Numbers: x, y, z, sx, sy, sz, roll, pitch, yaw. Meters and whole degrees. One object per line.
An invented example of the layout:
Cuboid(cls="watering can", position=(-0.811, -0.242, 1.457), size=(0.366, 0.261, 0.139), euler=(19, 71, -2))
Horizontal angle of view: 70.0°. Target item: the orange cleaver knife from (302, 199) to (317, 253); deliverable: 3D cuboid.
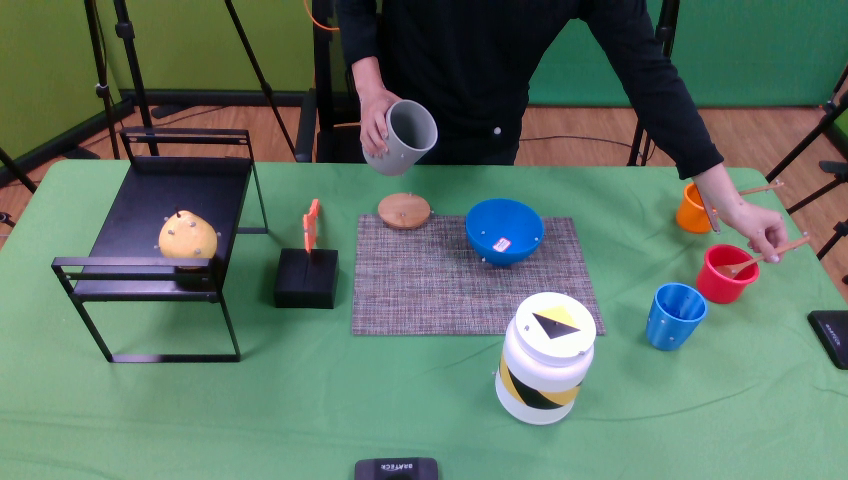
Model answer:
Cuboid(cls="orange cleaver knife", position=(-0.219, -0.031, 1.168), size=(0.012, 0.077, 0.210), euler=(-4, 17, -3))

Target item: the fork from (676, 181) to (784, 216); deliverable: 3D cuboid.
Cuboid(cls="fork", position=(0.618, -0.084, 1.235), size=(0.019, 0.207, 0.028), euler=(55, 40, -15))

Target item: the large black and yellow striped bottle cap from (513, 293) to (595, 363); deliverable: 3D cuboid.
Cuboid(cls="large black and yellow striped bottle cap", position=(0.186, 0.123, 0.863), size=(0.115, 0.019, 0.114), euler=(3, 45, -3))

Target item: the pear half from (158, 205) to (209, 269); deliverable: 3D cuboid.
Cuboid(cls="pear half", position=(-0.352, -0.015, 0.872), size=(0.056, 0.110, 0.076), euler=(26, 46, 20))

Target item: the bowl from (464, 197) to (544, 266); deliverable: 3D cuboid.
Cuboid(cls="bowl", position=(0.149, -0.004, 1.167), size=(0.151, 0.077, 0.150), euler=(2, 46, -2))

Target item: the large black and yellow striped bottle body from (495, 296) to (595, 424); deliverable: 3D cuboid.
Cuboid(cls="large black and yellow striped bottle body", position=(0.183, 0.182, 0.923), size=(0.131, 0.185, 0.130), euler=(2, 46, -2))

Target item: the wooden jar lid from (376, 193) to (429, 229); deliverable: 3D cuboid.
Cuboid(cls="wooden jar lid", position=(-0.044, -0.058, 1.246), size=(0.108, 0.021, 0.107), euler=(3, 40, -2))

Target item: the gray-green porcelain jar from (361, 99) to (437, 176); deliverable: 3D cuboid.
Cuboid(cls="gray-green porcelain jar", position=(-0.053, -0.187, 1.143), size=(0.106, 0.126, 0.105), euler=(14, 63, -28))

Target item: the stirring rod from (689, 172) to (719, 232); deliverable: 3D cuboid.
Cuboid(cls="stirring rod", position=(0.565, -0.080, 1.225), size=(0.014, 0.006, 0.175), euler=(3, 46, 1))

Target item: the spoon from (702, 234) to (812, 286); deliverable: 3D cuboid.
Cuboid(cls="spoon", position=(0.607, 0.035, 1.110), size=(0.022, 0.194, 0.041), euler=(17, 51, -44))

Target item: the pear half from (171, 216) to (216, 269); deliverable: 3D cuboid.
Cuboid(cls="pear half", position=(-0.323, 0.007, 0.866), size=(0.031, 0.088, 0.070), euler=(25, 47, 20))

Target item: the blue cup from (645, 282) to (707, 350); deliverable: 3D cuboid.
Cuboid(cls="blue cup", position=(0.425, 0.136, 1.042), size=(0.093, 0.101, 0.092), euler=(1, 44, -1))
